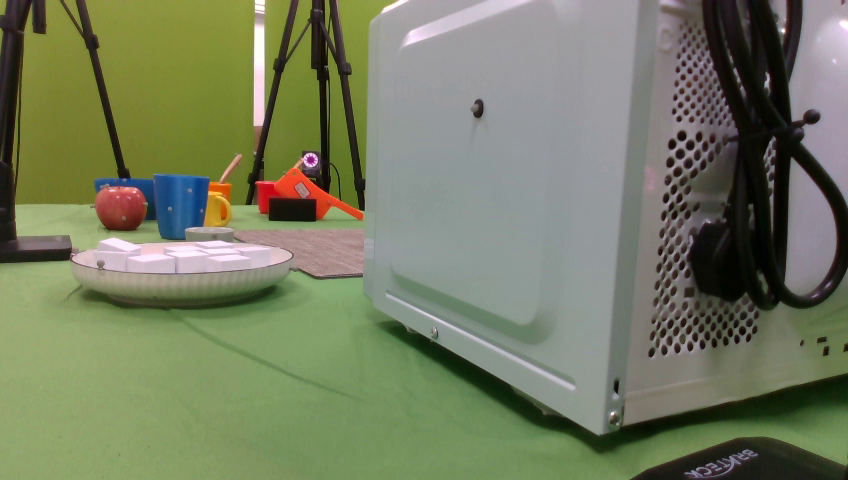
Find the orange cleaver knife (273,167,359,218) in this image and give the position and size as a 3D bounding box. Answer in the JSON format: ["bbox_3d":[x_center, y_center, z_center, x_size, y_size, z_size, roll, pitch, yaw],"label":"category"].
[{"bbox_3d":[-0.238,-0.091,1.381,0.212,0.077,0.012,31,0,-19],"label":"orange cleaver knife"}]

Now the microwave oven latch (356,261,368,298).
[{"bbox_3d":[-0.020,0.033,0.530,0.079,0.029,0.030,0,7,-26],"label":"microwave oven latch"}]

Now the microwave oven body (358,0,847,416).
[{"bbox_3d":[0.210,-0.047,0.475,0.444,0.260,0.324,-1,7,-28],"label":"microwave oven body"}]

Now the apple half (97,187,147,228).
[{"bbox_3d":[-0.534,-0.059,1.071,0.082,0.081,0.032,-1,11,-25],"label":"apple half"}]

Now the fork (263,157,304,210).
[{"bbox_3d":[-0.345,-0.143,1.506,0.028,0.019,0.207,-4,46,29],"label":"fork"}]

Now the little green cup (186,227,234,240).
[{"bbox_3d":[-0.285,0.005,0.805,0.061,0.038,0.061,2,8,0],"label":"little green cup"}]

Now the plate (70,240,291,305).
[{"bbox_3d":[-0.242,0.031,0.618,0.208,0.039,0.207,2,8,0],"label":"plate"}]

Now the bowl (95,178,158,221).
[{"bbox_3d":[-0.576,-0.081,1.217,0.151,0.077,0.151,3,8,0],"label":"bowl"}]

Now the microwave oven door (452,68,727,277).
[{"bbox_3d":[0.196,-0.095,0.801,0.354,0.243,0.039,8,10,36],"label":"microwave oven door"}]

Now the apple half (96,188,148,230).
[{"bbox_3d":[-0.517,-0.052,1.036,0.081,0.074,0.053,2,10,-26],"label":"apple half"}]

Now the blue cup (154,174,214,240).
[{"bbox_3d":[-0.391,-0.053,0.978,0.093,0.100,0.092,3,6,0],"label":"blue cup"}]

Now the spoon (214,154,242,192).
[{"bbox_3d":[-0.439,-0.124,1.318,0.041,0.193,0.022,5,-36,16],"label":"spoon"}]

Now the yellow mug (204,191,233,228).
[{"bbox_3d":[-0.415,-0.057,1.131,0.130,0.064,0.100,5,7,16],"label":"yellow mug"}]
